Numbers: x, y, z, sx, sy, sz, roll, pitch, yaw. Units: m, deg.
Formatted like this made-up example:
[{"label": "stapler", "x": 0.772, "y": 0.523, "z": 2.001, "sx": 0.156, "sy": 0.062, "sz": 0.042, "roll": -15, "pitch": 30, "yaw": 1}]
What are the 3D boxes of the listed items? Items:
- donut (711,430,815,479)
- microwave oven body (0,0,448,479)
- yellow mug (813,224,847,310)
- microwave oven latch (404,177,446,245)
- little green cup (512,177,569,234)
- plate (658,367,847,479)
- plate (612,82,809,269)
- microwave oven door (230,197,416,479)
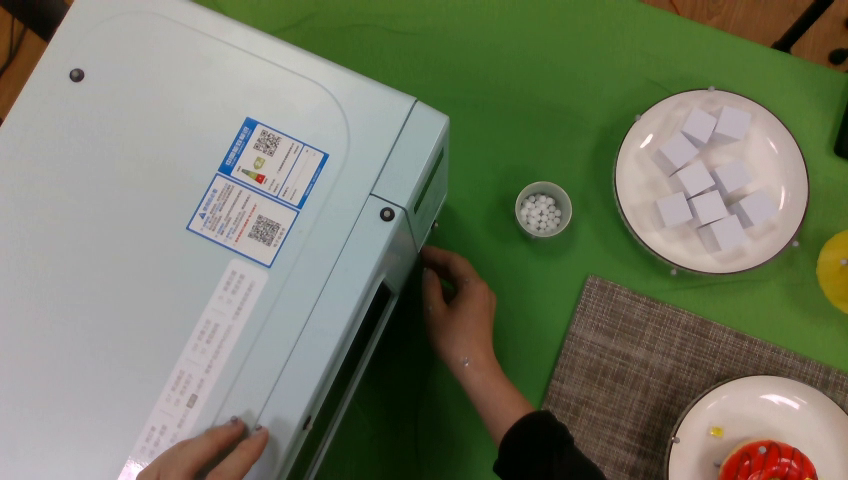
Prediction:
[{"label": "donut", "x": 0.337, "y": 0.241, "z": 0.605, "sx": 0.099, "sy": 0.048, "sz": 0.099, "roll": 0, "pitch": 84, "yaw": 3}, {"label": "microwave oven body", "x": -0.215, "y": 0.047, "z": 0.542, "sx": 0.325, "sy": 0.261, "sz": 0.441, "roll": 25, "pitch": 83, "yaw": 4}, {"label": "yellow mug", "x": 0.481, "y": 0.040, "z": 0.633, "sx": 0.100, "sy": 0.064, "sz": 0.130, "roll": -15, "pitch": 82, "yaw": -1}, {"label": "microwave oven latch", "x": -0.003, "y": -0.036, "z": 0.648, "sx": 0.030, "sy": 0.029, "sz": 0.079, "roll": 27, "pitch": 84, "yaw": 5}, {"label": "little green cup", "x": 0.125, "y": -0.035, "z": 0.663, "sx": 0.061, "sy": 0.039, "sz": 0.061, "roll": 0, "pitch": 82, "yaw": 1}, {"label": "plate", "x": 0.340, "y": 0.233, "z": 0.617, "sx": 0.209, "sy": 0.038, "sz": 0.208, "roll": 0, "pitch": 82, "yaw": 1}, {"label": "plate", "x": 0.308, "y": -0.069, "z": 0.666, "sx": 0.208, "sy": 0.039, "sz": 0.207, "roll": 0, "pitch": 82, "yaw": 1}, {"label": "microwave oven door", "x": -0.102, "y": 0.145, "z": 0.521, "sx": 0.039, "sy": 0.244, "sz": 0.355, "roll": 24, "pitch": 83, "yaw": 5}]
